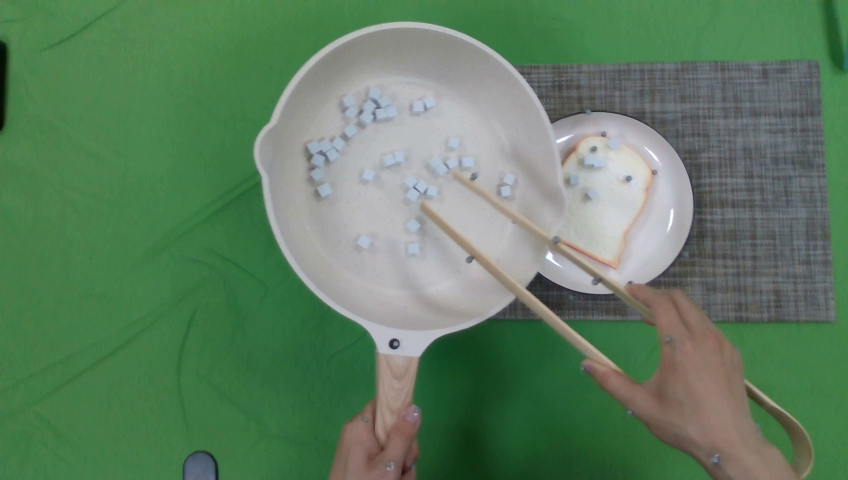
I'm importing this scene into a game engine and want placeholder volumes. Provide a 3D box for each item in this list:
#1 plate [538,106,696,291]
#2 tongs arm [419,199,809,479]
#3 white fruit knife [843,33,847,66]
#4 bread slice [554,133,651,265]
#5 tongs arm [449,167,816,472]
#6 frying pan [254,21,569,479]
[{"bbox_3d":[0.195,-0.045,0.685,0.207,0.039,0.207,0,85,3],"label":"plate"},{"bbox_3d":[0.147,0.081,0.523,0.386,0.028,0.028,38,73,11],"label":"tongs arm"},{"bbox_3d":[0.490,-0.304,0.675,0.016,0.027,0.208,1,99,2],"label":"white fruit knife"},{"bbox_3d":[0.192,-0.053,0.685,0.107,0.018,0.134,23,85,4],"label":"bread slice"},{"bbox_3d":[0.165,0.060,0.529,0.383,0.027,0.050,35,76,11],"label":"tongs arm"},{"bbox_3d":[-0.020,0.044,0.574,0.308,0.102,0.486,9,79,-16],"label":"frying pan"}]
